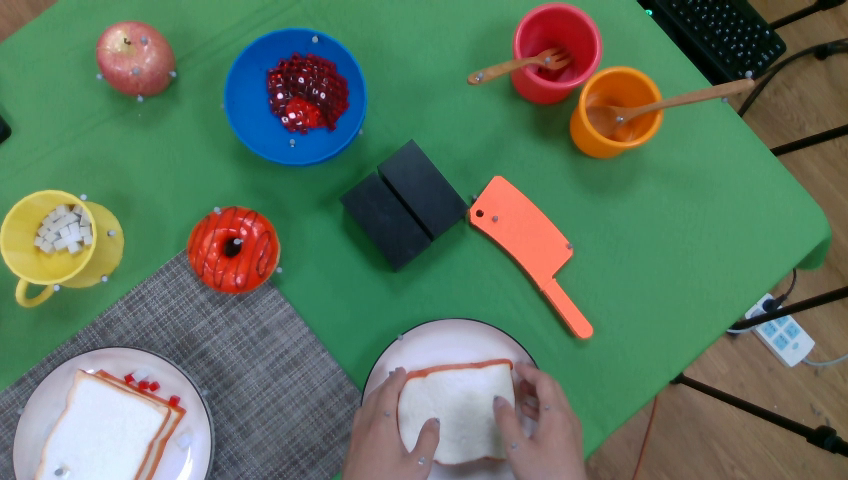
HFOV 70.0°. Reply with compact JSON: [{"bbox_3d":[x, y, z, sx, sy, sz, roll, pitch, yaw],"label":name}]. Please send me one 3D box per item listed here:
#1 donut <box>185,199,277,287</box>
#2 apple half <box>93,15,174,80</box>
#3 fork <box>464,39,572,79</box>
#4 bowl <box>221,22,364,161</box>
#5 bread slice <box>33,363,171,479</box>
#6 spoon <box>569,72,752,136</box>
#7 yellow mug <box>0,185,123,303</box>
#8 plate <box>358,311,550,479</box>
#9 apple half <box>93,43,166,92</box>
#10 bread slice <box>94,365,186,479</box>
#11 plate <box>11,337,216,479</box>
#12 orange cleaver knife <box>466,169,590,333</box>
[{"bbox_3d":[-0.212,0.004,0.669,0.099,0.048,0.099,0,84,-3],"label":"donut"},{"bbox_3d":[-0.317,-0.219,0.677,0.081,0.075,0.053,17,77,4],"label":"apple half"},{"bbox_3d":[0.106,-0.196,0.655,0.207,0.018,0.028,-29,85,-47],"label":"fork"},{"bbox_3d":[-0.139,-0.154,0.675,0.151,0.077,0.151,0,84,-2],"label":"bowl"},{"bbox_3d":[-0.332,0.208,0.620,0.107,0.018,0.134,19,82,3],"label":"bread slice"},{"bbox_3d":[0.248,-0.149,0.655,0.022,0.193,0.041,5,81,-46],"label":"spoon"},{"bbox_3d":[-0.398,0.009,0.654,0.100,0.064,0.130,27,84,0],"label":"yellow mug"},{"bbox_3d":[0.032,0.181,0.666,0.209,0.038,0.208,0,84,-1],"label":"plate"},{"bbox_3d":[-0.327,-0.182,0.671,0.081,0.081,0.032,17,78,0],"label":"apple half"},{"bbox_3d":[-0.331,0.214,0.648,0.105,0.019,0.131,23,82,0],"label":"bread slice"},{"bbox_3d":[-0.324,0.207,0.646,0.208,0.039,0.207,0,84,-2],"label":"plate"},{"bbox_3d":[0.132,0.010,0.699,0.077,0.012,0.211,-38,85,-12],"label":"orange cleaver knife"}]
